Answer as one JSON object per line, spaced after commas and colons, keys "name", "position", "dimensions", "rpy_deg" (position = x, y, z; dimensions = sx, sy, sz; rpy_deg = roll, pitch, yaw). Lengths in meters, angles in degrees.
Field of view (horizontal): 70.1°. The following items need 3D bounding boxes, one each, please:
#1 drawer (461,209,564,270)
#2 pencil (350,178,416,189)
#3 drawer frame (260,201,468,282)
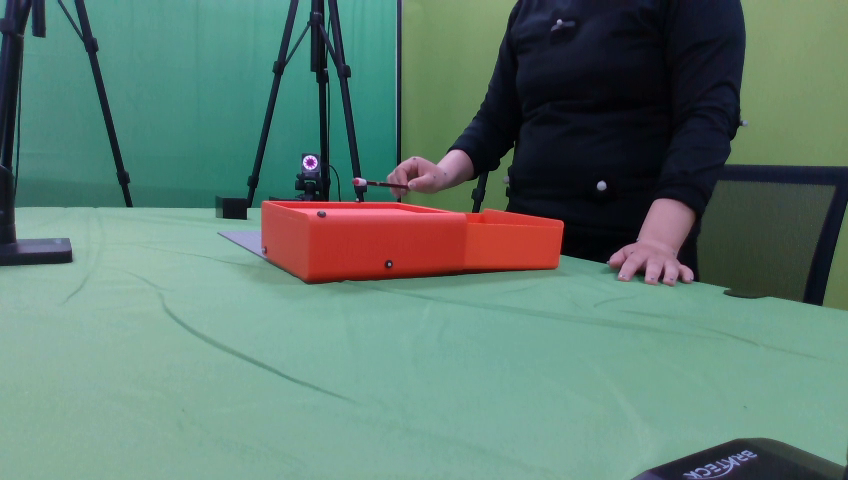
{"name": "drawer", "position": [0.059, -0.006, 0.880], "dimensions": [0.213, 0.073, 0.193], "rpy_deg": [0, 9, -31]}
{"name": "pencil", "position": [-0.064, -0.094, 1.033], "dimensions": [0.012, 0.012, 0.195], "rpy_deg": [7, 5, 30]}
{"name": "drawer frame", "position": [-0.084, -0.006, 0.795], "dimensions": [0.215, 0.082, 0.200], "rpy_deg": [-2, 9, -30]}
